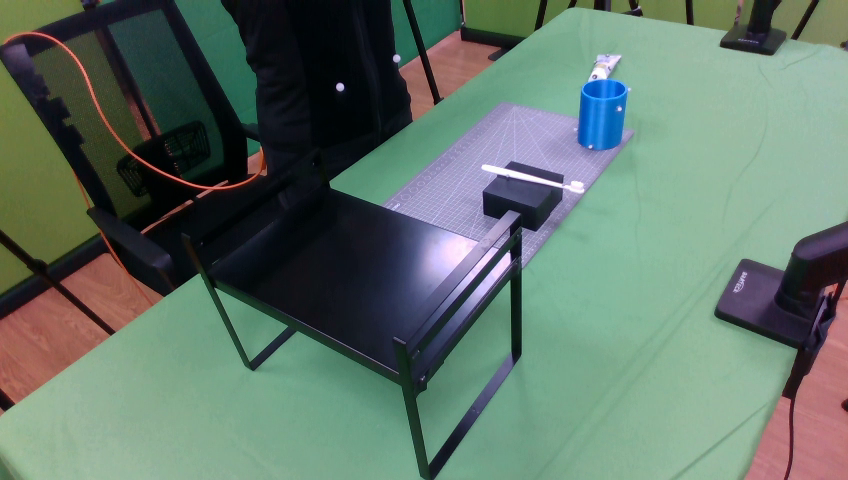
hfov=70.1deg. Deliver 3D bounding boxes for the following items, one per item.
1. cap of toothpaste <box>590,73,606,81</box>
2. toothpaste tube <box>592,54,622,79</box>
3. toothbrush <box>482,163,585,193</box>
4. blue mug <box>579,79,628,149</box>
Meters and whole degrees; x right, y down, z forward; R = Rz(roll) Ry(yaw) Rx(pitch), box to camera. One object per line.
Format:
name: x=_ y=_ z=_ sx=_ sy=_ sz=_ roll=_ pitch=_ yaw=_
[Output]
cap of toothpaste: x=0.377 y=-0.345 z=1.308 sx=0.037 sy=0.037 sz=0.011 roll=10 pitch=40 yaw=19
toothpaste tube: x=0.409 y=-0.390 z=1.364 sx=0.055 sy=0.034 sz=0.165 roll=13 pitch=41 yaw=17
toothbrush: x=0.178 y=-0.105 z=0.997 sx=0.180 sy=0.017 sz=0.014 roll=17 pitch=51 yaw=26
blue mug: x=0.336 y=-0.246 z=1.143 sx=0.082 sy=0.106 sz=0.116 roll=0 pitch=41 yaw=10
